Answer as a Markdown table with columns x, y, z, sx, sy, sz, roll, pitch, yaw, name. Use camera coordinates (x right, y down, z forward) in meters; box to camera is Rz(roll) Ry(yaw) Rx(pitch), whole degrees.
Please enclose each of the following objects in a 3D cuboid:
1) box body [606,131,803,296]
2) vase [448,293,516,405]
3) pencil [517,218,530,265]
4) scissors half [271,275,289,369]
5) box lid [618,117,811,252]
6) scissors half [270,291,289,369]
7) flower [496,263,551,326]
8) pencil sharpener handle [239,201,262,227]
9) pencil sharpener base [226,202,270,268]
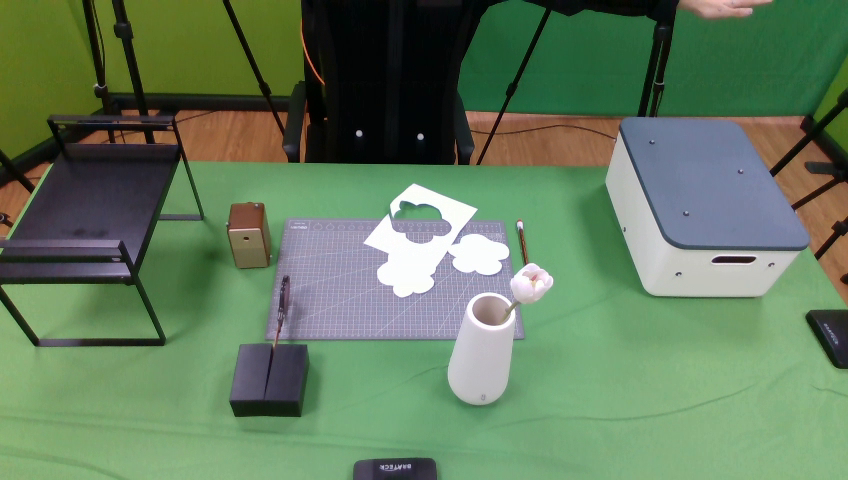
| x | y | z | sx | sy | sz | roll | pitch | yaw | name |
| --- | --- | --- | --- | --- | --- | --- | --- | --- | --- |
| 0.530 | -0.067 | 1.204 | 0.254 | 0.161 | 0.361 | 0 | 46 | -4 | box body |
| 0.091 | 0.169 | 0.921 | 0.098 | 0.201 | 0.097 | 3 | 47 | -3 | vase |
| 0.201 | 0.028 | 1.197 | 0.012 | 0.012 | 0.193 | 1 | 48 | -4 | pencil |
| -0.240 | 0.131 | 1.000 | 0.013 | 0.040 | 0.174 | 3 | 56 | -4 | scissors half |
| 0.534 | -0.117 | 1.149 | 0.263 | 0.015 | 0.369 | 0 | 47 | -3 | box lid |
| -0.243 | 0.145 | 1.014 | 0.013 | 0.040 | 0.174 | 7 | 38 | -7 | scissors half |
| 0.102 | 0.120 | 0.853 | 0.044 | 0.363 | 0.038 | -2 | 64 | -10 | flower |
| -0.325 | -0.055 | 1.150 | 0.036 | 0.068 | 0.030 | -12 | 46 | 3 | pencil sharpener handle |
| -0.323 | -0.010 | 1.123 | 0.061 | 0.107 | 0.076 | -3 | 46 | -7 | pencil sharpener base |
